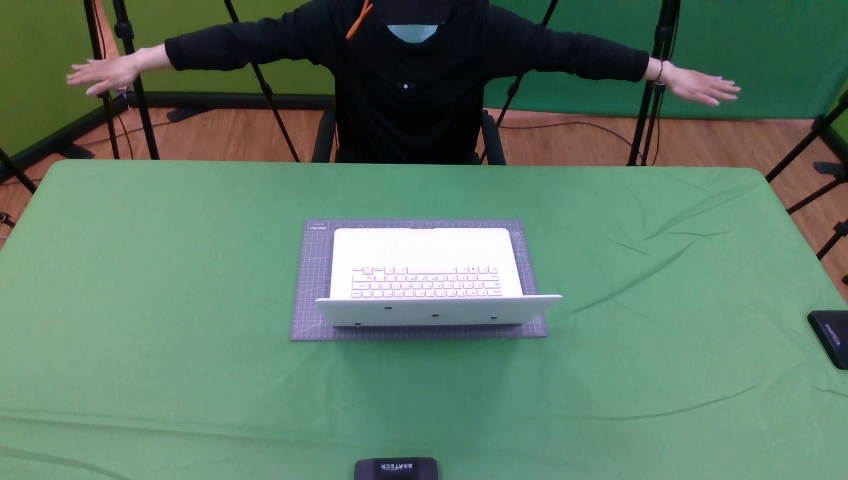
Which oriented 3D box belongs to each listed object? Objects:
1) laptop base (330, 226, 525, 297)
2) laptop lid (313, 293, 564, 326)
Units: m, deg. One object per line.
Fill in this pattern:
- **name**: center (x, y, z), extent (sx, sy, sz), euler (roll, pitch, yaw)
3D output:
- **laptop base**: center (0.005, 0.061, 1.137), extent (0.355, 0.023, 0.234), euler (0, 43, -4)
- **laptop lid**: center (0.017, 0.112, 0.945), extent (0.357, 0.242, 0.013), euler (0, 74, -5)
